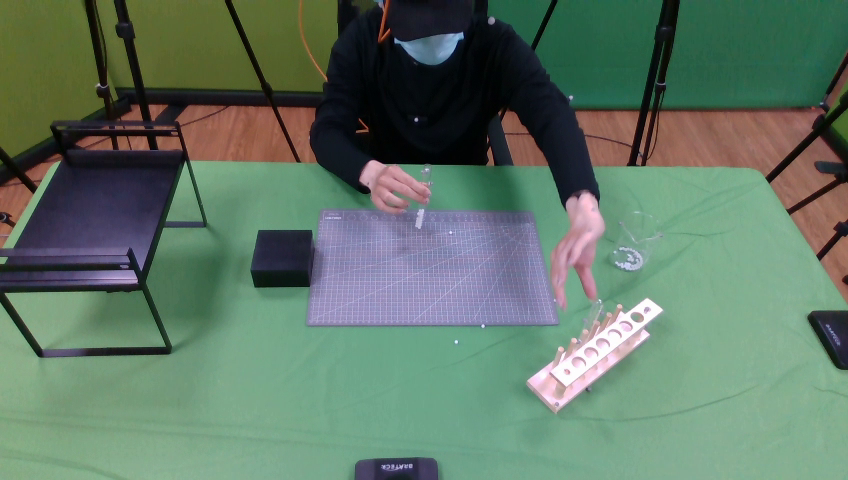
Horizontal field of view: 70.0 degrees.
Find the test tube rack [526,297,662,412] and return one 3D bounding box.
[{"bbox_3d":[0.284,0.176,1.007,0.242,0.085,0.066,-29,54,-27],"label":"test tube rack"}]

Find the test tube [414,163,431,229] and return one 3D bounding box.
[{"bbox_3d":[-0.003,-0.080,1.130,0.017,0.151,0.017,5,42,-5],"label":"test tube"}]

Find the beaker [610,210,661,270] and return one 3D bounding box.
[{"bbox_3d":[0.404,0.005,1.169,0.074,0.101,0.083,19,49,15],"label":"beaker"}]

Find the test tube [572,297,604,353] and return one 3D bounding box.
[{"bbox_3d":[0.263,0.141,0.977,0.017,0.151,0.017,2,47,-2],"label":"test tube"}]
